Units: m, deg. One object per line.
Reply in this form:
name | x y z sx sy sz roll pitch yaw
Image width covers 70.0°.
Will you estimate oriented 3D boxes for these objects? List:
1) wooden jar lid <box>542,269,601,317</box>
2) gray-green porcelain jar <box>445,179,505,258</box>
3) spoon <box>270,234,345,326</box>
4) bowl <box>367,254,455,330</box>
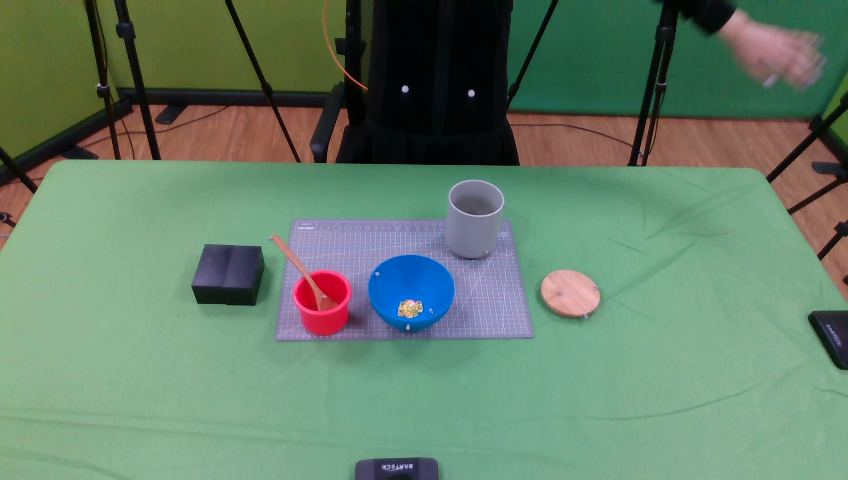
wooden jar lid | 0.272 0.100 1.121 0.108 0.021 0.107 3 47 -3
gray-green porcelain jar | 0.095 -0.037 1.162 0.106 0.127 0.105 2 46 -2
spoon | -0.198 0.067 1.031 0.041 0.021 0.194 -43 106 -38
bowl | -0.024 0.104 1.053 0.151 0.077 0.150 2 46 -2
